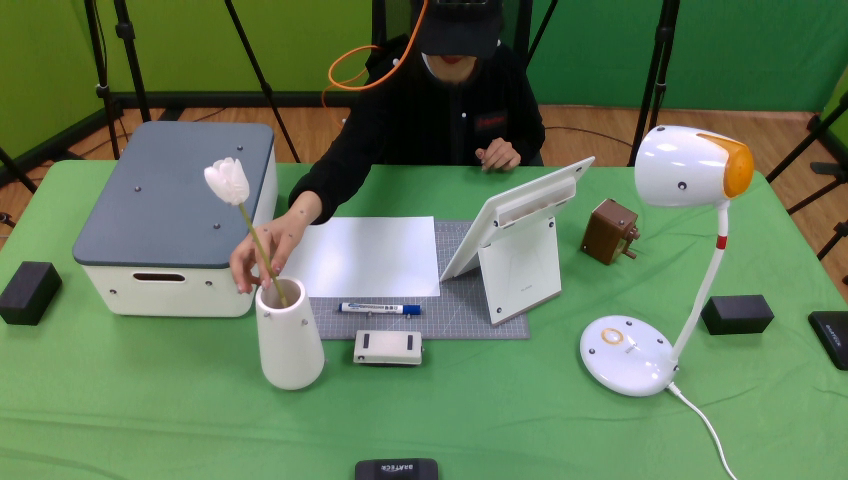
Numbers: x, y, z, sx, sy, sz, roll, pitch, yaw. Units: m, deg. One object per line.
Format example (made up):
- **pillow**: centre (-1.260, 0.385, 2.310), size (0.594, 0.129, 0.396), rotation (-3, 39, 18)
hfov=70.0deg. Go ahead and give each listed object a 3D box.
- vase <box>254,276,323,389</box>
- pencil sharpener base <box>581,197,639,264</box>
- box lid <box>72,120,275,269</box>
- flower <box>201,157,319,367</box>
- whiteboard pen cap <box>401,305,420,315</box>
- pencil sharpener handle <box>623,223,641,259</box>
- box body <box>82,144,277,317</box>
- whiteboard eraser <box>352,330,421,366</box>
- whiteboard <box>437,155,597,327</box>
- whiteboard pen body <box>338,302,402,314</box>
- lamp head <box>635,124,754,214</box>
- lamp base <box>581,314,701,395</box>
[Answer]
- **vase**: centre (-0.210, 0.143, 0.921), size (0.098, 0.201, 0.097), rotation (1, 46, -1)
- **pencil sharpener base**: centre (0.362, -0.016, 1.178), size (0.076, 0.107, 0.061), rotation (35, 53, 26)
- **box lid**: centre (-0.417, -0.094, 1.056), size (0.263, 0.015, 0.369), rotation (1, 47, -3)
- **flower**: centre (-0.213, 0.050, 0.848), size (0.044, 0.363, 0.038), rotation (-29, 34, -17)
- **whiteboard pen cap**: centre (-0.023, 0.124, 1.075), size (0.033, 0.018, 0.018), rotation (1, 46, 0)
- **pencil sharpener handle**: centre (0.399, 0.003, 1.146), size (0.030, 0.068, 0.036), rotation (35, 45, 26)
- **box body**: centre (-0.421, -0.040, 1.108), size (0.254, 0.161, 0.361), rotation (2, 46, -3)
- **whiteboard eraser**: centre (-0.060, 0.180, 1.005), size (0.113, 0.042, 0.055), rotation (3, 48, -2)
- **whiteboard**: centre (0.180, 0.024, 1.029), size (0.217, 0.306, 0.143), rotation (-22, 71, -23)
- **whiteboard pen body**: centre (-0.083, 0.121, 1.074), size (0.141, 0.017, 0.017), rotation (3, 46, -2)
- **lamp head**: centre (0.351, -0.089, 0.775), size (0.112, 0.113, 0.122), rotation (-30, 30, -28)
- **lamp base**: centre (0.361, 0.145, 0.972), size (0.178, 0.181, 0.160), rotation (34, 53, 23)
